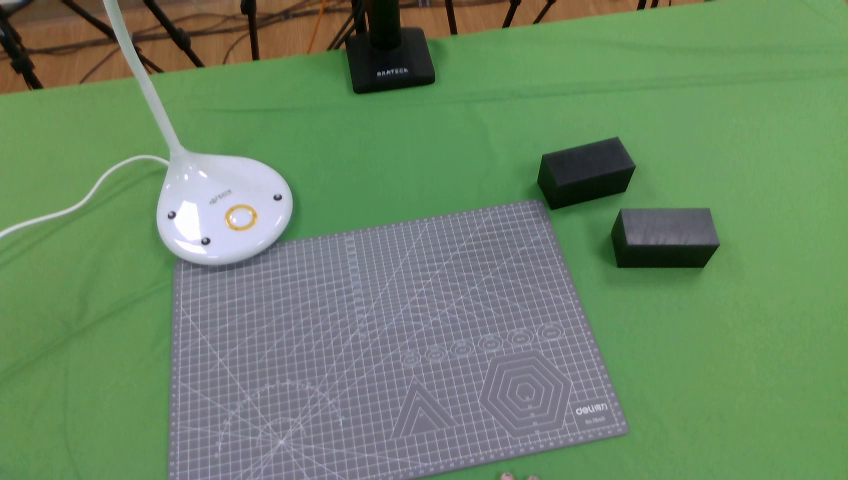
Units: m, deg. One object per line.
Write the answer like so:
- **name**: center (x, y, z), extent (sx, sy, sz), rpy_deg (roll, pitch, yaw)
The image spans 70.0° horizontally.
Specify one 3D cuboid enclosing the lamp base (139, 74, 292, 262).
- **lamp base**: center (-0.254, -0.090, 0.682), extent (0.178, 0.182, 0.160), rpy_deg (29, 61, 22)
